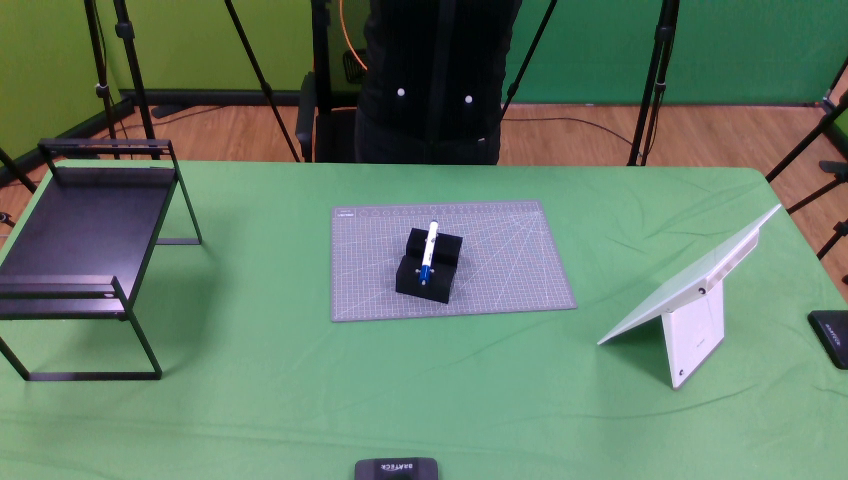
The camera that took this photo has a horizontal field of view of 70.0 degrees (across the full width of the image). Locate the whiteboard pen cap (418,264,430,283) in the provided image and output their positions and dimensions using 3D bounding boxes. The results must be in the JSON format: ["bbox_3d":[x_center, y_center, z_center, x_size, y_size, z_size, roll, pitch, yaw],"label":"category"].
[{"bbox_3d":[0.001,0.059,1.069,0.018,0.018,0.033,8,48,4],"label":"whiteboard pen cap"}]

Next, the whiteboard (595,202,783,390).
[{"bbox_3d":[0.459,0.112,0.968,0.217,0.306,0.143,-31,74,-29],"label":"whiteboard"}]

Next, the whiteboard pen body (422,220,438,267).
[{"bbox_3d":[0.009,0.017,1.107,0.017,0.017,0.140,8,49,4],"label":"whiteboard pen body"}]
